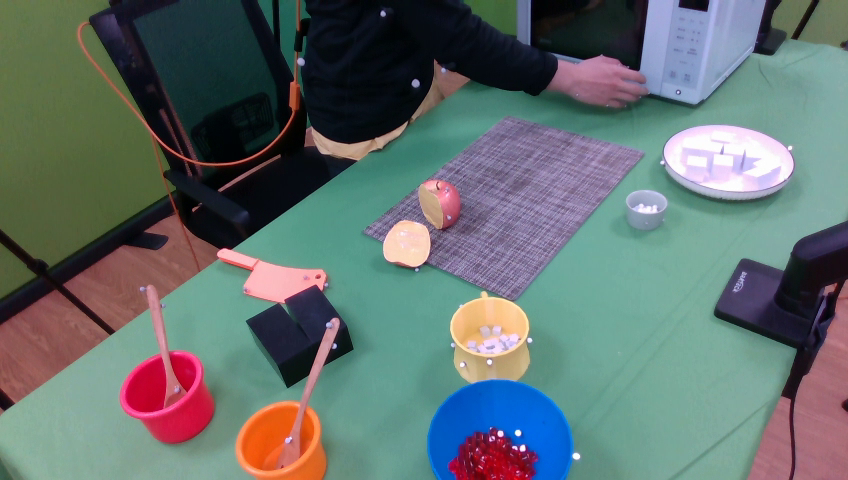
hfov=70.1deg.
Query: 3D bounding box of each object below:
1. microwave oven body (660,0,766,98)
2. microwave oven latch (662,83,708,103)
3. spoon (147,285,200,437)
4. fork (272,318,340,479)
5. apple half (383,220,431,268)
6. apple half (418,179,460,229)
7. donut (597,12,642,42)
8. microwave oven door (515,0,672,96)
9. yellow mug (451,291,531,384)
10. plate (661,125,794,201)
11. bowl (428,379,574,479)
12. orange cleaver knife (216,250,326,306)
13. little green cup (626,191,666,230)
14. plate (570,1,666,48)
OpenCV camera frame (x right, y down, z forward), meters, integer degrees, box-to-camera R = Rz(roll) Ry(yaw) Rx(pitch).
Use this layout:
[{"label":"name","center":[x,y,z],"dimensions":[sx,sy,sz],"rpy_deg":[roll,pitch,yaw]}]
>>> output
[{"label":"microwave oven body","center":[0.472,-0.513,1.317],"dimensions":[0.438,0.261,0.327],"rpy_deg":[26,51,34]},{"label":"microwave oven latch","center":[0.518,-0.296,1.204],"dimensions":[0.078,0.029,0.030],"rpy_deg":[28,52,35]},{"label":"spoon","center":[-0.318,0.148,0.754],"dimensions":[0.042,0.021,0.193],"rpy_deg":[-15,85,-9]},{"label":"fork","center":[-0.132,0.186,0.676],"dimensions":[0.028,0.019,0.207],"rpy_deg":[17,90,28]},{"label":"apple half","center":[-0.022,0.009,0.947],"dimensions":[0.081,0.033,0.081],"rpy_deg":[-3,73,11]},{"label":"apple half","center":[0.032,-0.062,0.998],"dimensions":[0.053,0.075,0.080],"rpy_deg":[-23,39,-23]},{"label":"donut","center":[0.436,-0.477,1.347],"dimensions":[0.099,0.048,0.098],"rpy_deg":[-12,31,8]},{"label":"microwave oven door","center":[0.344,-0.455,1.259],"dimensions":[0.353,0.245,0.039],"rpy_deg":[26,51,33]},{"label":"yellow mug","center":[0.086,0.120,0.786],"dimensions":[0.100,0.064,0.130],"rpy_deg":[-7,39,1]},{"label":"plate","center":[0.513,-0.128,1.035],"dimensions":[0.207,0.039,0.206],"rpy_deg":[-4,40,4]},{"label":"bowl","center":[0.082,0.233,0.644],"dimensions":[0.151,0.077,0.150],"rpy_deg":[-4,39,4]},{"label":"orange cleaver knife","center":[-0.248,0.059,0.945],"dimensions":[0.210,0.012,0.077],"rpy_deg":[12,49,20]},{"label":"little green cup","center":[0.352,-0.046,0.963],"dimensions":[0.061,0.039,0.061],"rpy_deg":[-4,40,4]},{"label":"plate","center":[0.437,-0.485,1.370],"dimensions":[0.209,0.038,0.208],"rpy_deg":[-4,42,4]}]
